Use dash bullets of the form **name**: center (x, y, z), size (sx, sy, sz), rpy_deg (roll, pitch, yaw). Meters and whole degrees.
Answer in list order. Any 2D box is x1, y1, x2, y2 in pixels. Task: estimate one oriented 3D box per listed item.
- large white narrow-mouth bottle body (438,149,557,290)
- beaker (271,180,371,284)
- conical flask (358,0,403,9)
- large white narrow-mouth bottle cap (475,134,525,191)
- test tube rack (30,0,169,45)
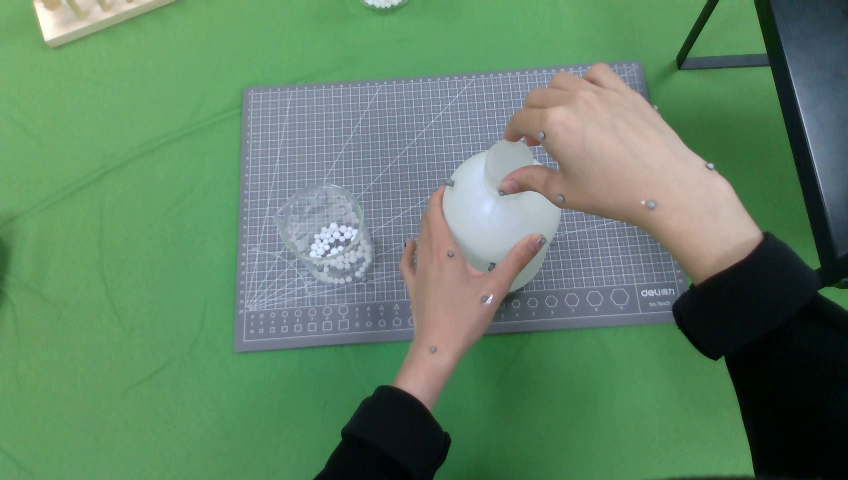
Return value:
- **large white narrow-mouth bottle body**: center (0.063, -0.024, 0.530), size (0.102, 0.196, 0.101), rpy_deg (-1, 72, 4)
- **beaker**: center (-0.092, -0.003, 0.576), size (0.084, 0.101, 0.073), rpy_deg (7, 71, 5)
- **conical flask**: center (-0.053, -0.325, 0.672), size (0.075, 0.122, 0.075), rpy_deg (-1, 71, 2)
- **large white narrow-mouth bottle cap**: center (0.055, -0.055, 0.438), size (0.038, 0.024, 0.037), rpy_deg (-1, 72, 4)
- **test tube rack**: center (-0.348, -0.319, 0.697), size (0.242, 0.086, 0.066), rpy_deg (-24, 72, -6)
